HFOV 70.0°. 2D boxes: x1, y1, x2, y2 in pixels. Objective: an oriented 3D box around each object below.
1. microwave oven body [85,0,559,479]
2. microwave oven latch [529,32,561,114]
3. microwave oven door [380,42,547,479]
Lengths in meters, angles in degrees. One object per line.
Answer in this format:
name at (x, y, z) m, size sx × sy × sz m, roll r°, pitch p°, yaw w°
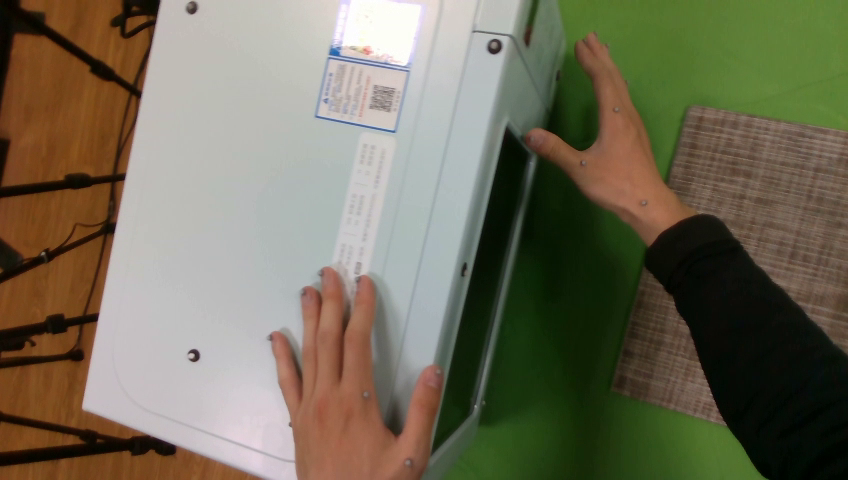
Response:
microwave oven body at (-0.084, -0.033, 0.583) m, size 0.324 × 0.261 × 0.441 m, roll 13°, pitch 93°, yaw 17°
microwave oven latch at (0.121, -0.172, 0.622) m, size 0.030 × 0.029 × 0.079 m, roll 13°, pitch 94°, yaw 17°
microwave oven door at (0.042, 0.038, 0.537) m, size 0.039 × 0.245 × 0.356 m, roll 12°, pitch 93°, yaw 18°
